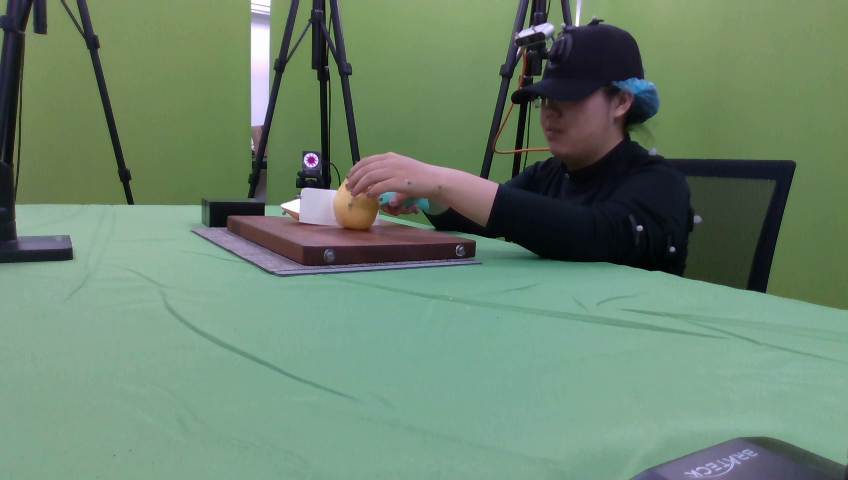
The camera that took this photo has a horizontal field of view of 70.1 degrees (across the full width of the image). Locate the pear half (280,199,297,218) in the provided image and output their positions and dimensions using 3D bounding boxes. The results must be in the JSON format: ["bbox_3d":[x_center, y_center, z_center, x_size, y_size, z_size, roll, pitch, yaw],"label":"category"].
[{"bbox_3d":[-0.201,-0.047,1.034,0.088,0.031,0.070,-3,21,-20],"label":"pear half"}]

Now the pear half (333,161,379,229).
[{"bbox_3d":[-0.103,-0.071,0.970,0.077,0.110,0.055,-10,14,-44],"label":"pear half"}]

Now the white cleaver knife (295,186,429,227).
[{"bbox_3d":[-0.098,-0.055,1.028,0.288,0.066,0.021,-3,6,-44],"label":"white cleaver knife"}]
